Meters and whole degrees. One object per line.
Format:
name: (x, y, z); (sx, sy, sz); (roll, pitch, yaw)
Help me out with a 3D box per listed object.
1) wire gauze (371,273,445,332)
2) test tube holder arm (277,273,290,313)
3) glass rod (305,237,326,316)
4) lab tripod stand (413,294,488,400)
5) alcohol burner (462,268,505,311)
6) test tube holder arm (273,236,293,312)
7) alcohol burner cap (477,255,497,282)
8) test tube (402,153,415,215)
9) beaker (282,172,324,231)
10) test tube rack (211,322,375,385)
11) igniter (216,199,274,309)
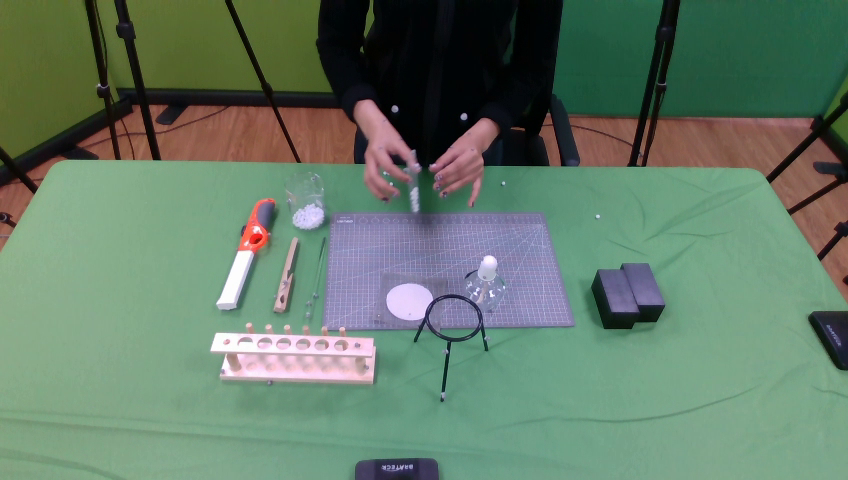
wire gauze: (-0.028, 0.109, 1.099); (0.125, 0.011, 0.121); (7, 45, 4)
test tube holder arm: (-0.254, 0.094, 1.094); (0.010, 0.015, 0.087); (30, 38, -28)
glass rod: (-0.202, 0.064, 1.131); (0.008, 0.008, 0.198); (4, 44, 0)
lab tripod stand: (0.044, 0.160, 0.972); (0.148, 0.132, 0.147); (3, 44, -2)
alcohol burner: (0.108, 0.071, 1.072); (0.078, 0.119, 0.077); (4, 46, -3)
test tube holder arm: (-0.260, 0.059, 1.122); (0.013, 0.015, 0.177); (29, 38, -29)
alcohol burner cap: (0.110, 0.047, 1.046); (0.034, 0.048, 0.033); (2, 52, -2)
test tube: (-0.026, -0.094, 1.062); (0.017, 0.151, 0.017); (-1, 52, 1)
beaker: (-0.234, -0.073, 1.199); (0.084, 0.101, 0.074); (24, 50, 17)
test tube rack: (-0.202, 0.176, 0.969); (0.242, 0.085, 0.066); (3, 46, -2)
igniter: (-0.336, 0.018, 1.153); (0.057, 0.025, 0.275); (-2, 45, 8)
